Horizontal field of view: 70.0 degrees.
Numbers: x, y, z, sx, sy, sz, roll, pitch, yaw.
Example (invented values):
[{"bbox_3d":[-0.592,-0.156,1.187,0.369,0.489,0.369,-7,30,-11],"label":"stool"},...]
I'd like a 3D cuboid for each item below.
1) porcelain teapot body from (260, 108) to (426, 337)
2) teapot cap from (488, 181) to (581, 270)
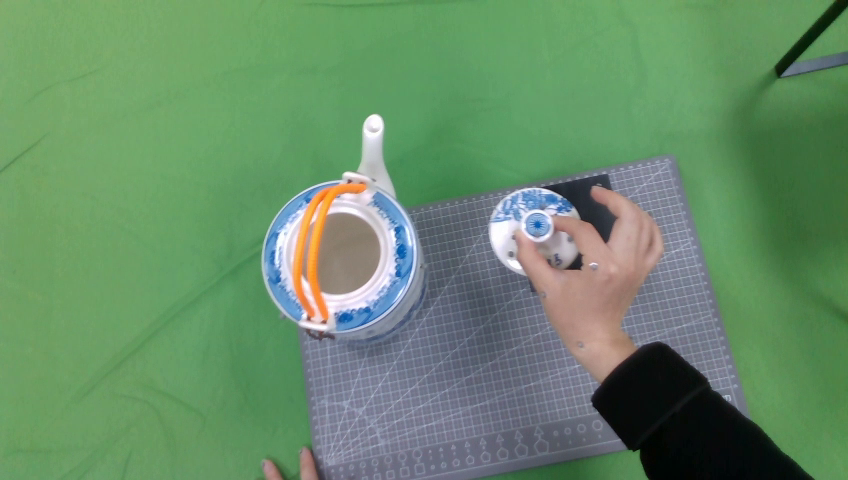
[{"bbox_3d":[-0.071,-0.016,0.575,0.145,0.226,0.204,11,78,7],"label":"porcelain teapot body"},{"bbox_3d":[0.099,-0.015,0.547,0.085,0.044,0.084,-2,75,7],"label":"teapot cap"}]
